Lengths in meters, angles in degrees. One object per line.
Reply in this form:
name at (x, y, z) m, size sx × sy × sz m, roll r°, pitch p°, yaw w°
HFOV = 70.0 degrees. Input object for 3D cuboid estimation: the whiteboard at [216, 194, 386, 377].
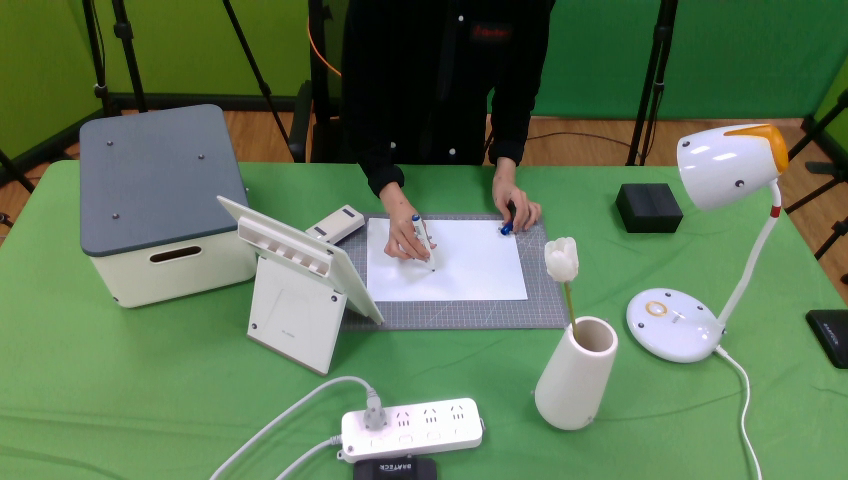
whiteboard at (-0.212, 0.093, 0.939) m, size 0.216 × 0.307 × 0.143 m, roll 24°, pitch 70°, yaw 17°

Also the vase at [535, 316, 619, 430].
vase at (0.229, 0.200, 0.901) m, size 0.098 × 0.201 × 0.097 m, roll 3°, pitch 46°, yaw -3°

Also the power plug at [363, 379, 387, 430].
power plug at (-0.071, 0.252, 0.911) m, size 0.035 × 0.053 × 0.072 m, roll 3°, pitch 40°, yaw 0°

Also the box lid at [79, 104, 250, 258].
box lid at (-0.467, -0.121, 1.075) m, size 0.264 × 0.015 × 0.369 m, roll -13°, pitch 49°, yaw -17°

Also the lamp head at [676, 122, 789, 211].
lamp head at (0.423, -0.104, 0.819) m, size 0.122 × 0.113 × 0.112 m, roll -13°, pitch 33°, yaw 40°

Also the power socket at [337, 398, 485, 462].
power socket at (-0.018, 0.285, 0.914) m, size 0.227 × 0.033 × 0.071 m, roll -4°, pitch 46°, yaw -8°

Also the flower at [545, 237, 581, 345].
flower at (0.213, 0.137, 0.846) m, size 0.038 × 0.364 × 0.044 m, roll 21°, pitch 55°, yaw 40°

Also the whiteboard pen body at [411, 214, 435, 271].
whiteboard pen body at (0.001, 0.008, 1.107) m, size 0.017 × 0.141 × 0.017 m, roll -11°, pitch 40°, yaw 10°

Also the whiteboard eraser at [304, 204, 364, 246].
whiteboard eraser at (-0.175, -0.022, 1.188) m, size 0.055 × 0.042 × 0.112 m, roll 36°, pitch 53°, yaw 26°

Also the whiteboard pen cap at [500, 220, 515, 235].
whiteboard pen cap at (0.169, -0.025, 1.233) m, size 0.018 × 0.018 × 0.033 m, roll 31°, pitch 59°, yaw 23°

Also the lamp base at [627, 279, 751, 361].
lamp base at (0.460, 0.100, 1.027) m, size 0.178 × 0.181 × 0.160 m, roll 27°, pitch 51°, yaw 17°

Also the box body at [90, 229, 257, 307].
box body at (-0.471, -0.070, 1.131) m, size 0.254 × 0.161 × 0.361 m, roll -14°, pitch 49°, yaw -17°
